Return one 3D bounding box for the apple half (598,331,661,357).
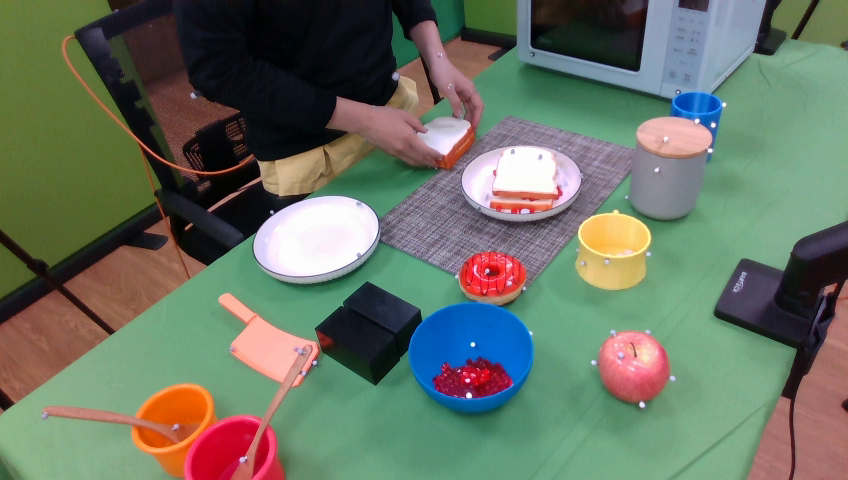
[{"bbox_3d":[0.249,0.134,0.738,0.081,0.081,0.032,-1,46,7],"label":"apple half"}]

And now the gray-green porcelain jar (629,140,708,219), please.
[{"bbox_3d":[0.383,-0.105,0.958,0.106,0.127,0.105,-4,41,4],"label":"gray-green porcelain jar"}]

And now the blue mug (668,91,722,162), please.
[{"bbox_3d":[0.475,-0.207,1.078,0.082,0.106,0.116,4,42,13],"label":"blue mug"}]

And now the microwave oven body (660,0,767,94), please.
[{"bbox_3d":[0.473,-0.516,1.313,0.438,0.261,0.327,26,51,34],"label":"microwave oven body"}]

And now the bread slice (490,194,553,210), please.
[{"bbox_3d":[0.173,-0.099,1.047,0.104,0.019,0.131,2,43,12],"label":"bread slice"}]

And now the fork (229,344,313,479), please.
[{"bbox_3d":[-0.173,0.205,0.661,0.028,0.019,0.207,29,94,36],"label":"fork"}]

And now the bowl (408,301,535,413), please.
[{"bbox_3d":[0.060,0.156,0.739,0.151,0.077,0.150,-4,40,4],"label":"bowl"}]

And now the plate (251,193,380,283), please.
[{"bbox_3d":[-0.174,-0.001,0.984,0.209,0.038,0.208,-4,40,4],"label":"plate"}]

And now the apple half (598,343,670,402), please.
[{"bbox_3d":[0.247,0.161,0.710,0.081,0.075,0.053,2,47,5],"label":"apple half"}]

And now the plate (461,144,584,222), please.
[{"bbox_3d":[0.168,-0.095,1.040,0.207,0.039,0.206,-4,40,4],"label":"plate"}]

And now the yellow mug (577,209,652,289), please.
[{"bbox_3d":[0.279,0.005,0.893,0.099,0.064,0.130,5,41,15],"label":"yellow mug"}]

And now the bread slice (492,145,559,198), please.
[{"bbox_3d":[0.172,-0.118,1.027,0.107,0.018,0.134,3,43,7],"label":"bread slice"}]

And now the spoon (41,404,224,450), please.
[{"bbox_3d":[-0.321,0.206,0.681,0.195,0.021,0.041,27,27,-33],"label":"spoon"}]

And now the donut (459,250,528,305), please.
[{"bbox_3d":[0.100,0.053,0.873,0.099,0.048,0.098,-5,40,4],"label":"donut"}]

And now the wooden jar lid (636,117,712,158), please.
[{"bbox_3d":[0.377,-0.151,0.917,0.108,0.021,0.108,-2,42,3],"label":"wooden jar lid"}]

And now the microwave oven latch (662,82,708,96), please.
[{"bbox_3d":[0.518,-0.298,1.203,0.078,0.029,0.030,29,53,35],"label":"microwave oven latch"}]

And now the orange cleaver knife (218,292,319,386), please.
[{"bbox_3d":[-0.235,0.136,0.850,0.209,0.012,0.077,25,57,30],"label":"orange cleaver knife"}]

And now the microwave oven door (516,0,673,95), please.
[{"bbox_3d":[0.344,-0.458,1.256,0.353,0.245,0.039,26,51,33],"label":"microwave oven door"}]
